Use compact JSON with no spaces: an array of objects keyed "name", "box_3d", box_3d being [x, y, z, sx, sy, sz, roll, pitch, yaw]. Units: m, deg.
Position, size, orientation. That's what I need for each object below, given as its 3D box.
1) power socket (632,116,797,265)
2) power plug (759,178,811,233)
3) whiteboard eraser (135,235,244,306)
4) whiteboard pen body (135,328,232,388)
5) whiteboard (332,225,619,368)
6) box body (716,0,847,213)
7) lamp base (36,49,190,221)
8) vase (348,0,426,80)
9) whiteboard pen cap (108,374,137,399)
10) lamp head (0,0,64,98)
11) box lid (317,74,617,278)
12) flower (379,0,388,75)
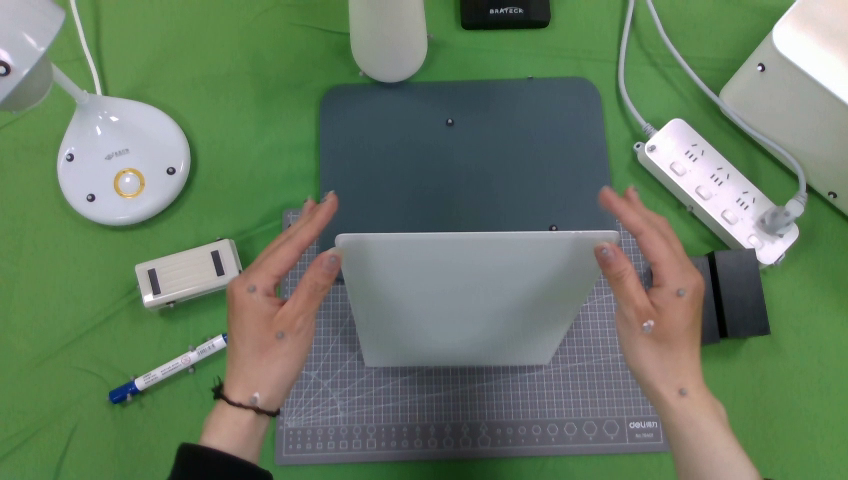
[{"name":"power socket","box_3d":[0.362,-0.063,0.756,0.072,0.033,0.226,-41,80,-11]},{"name":"power plug","box_3d":[0.435,-0.036,0.727,0.072,0.053,0.035,-31,77,-13]},{"name":"whiteboard eraser","box_3d":[-0.274,0.035,0.711,0.113,0.042,0.055,-17,80,-6]},{"name":"whiteboard pen body","box_3d":[-0.287,0.140,0.696,0.141,0.017,0.017,-28,78,-7]},{"name":"whiteboard","box_3d":[0.039,0.012,0.611,0.217,0.308,0.142,0,60,-1]},{"name":"box body","box_3d":[0.577,-0.167,0.720,0.363,0.161,0.254,42,79,8]},{"name":"lamp base","box_3d":[-0.377,-0.129,0.677,0.160,0.181,0.178,-32,76,-9]},{"name":"vase","box_3d":[-0.044,-0.274,0.712,0.098,0.201,0.097,1,74,-2]},{"name":"whiteboard pen cap","box_3d":[-0.340,0.165,0.689,0.033,0.018,0.018,-29,78,-5]},{"name":"lamp head","box_3d":[-0.329,-0.158,0.402,0.112,0.124,0.111,-24,44,26]},{"name":"box lid","box_3d":[0.052,-0.086,0.765,0.372,0.015,0.262,-2,76,-2]},{"name":"flower","box_3d":[-0.038,-0.310,0.636,0.044,0.364,0.038,36,62,14]}]
